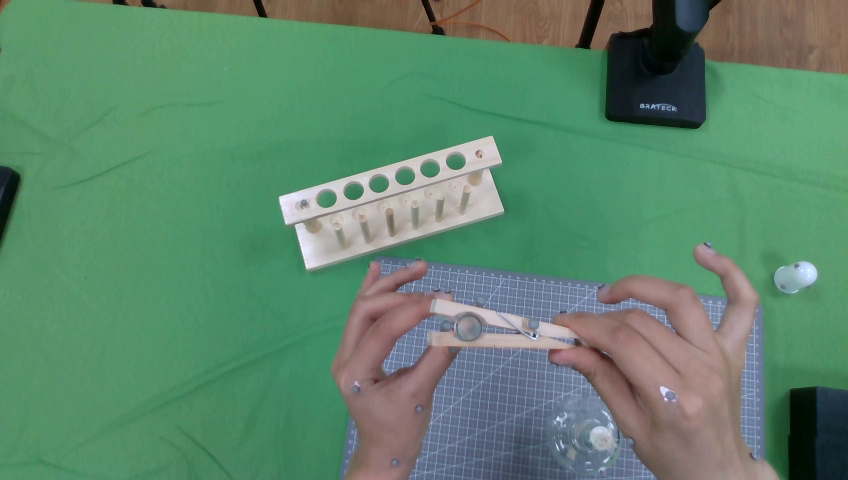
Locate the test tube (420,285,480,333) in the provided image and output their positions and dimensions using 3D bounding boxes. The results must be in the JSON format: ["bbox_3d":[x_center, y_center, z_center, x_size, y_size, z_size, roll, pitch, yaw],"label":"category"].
[{"bbox_3d":[0.014,0.044,0.408,0.017,0.150,0.017,0,91,-8],"label":"test tube"}]

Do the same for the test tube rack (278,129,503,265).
[{"bbox_3d":[-0.031,-0.046,0.686,0.242,0.085,0.066,-17,74,-4],"label":"test tube rack"}]

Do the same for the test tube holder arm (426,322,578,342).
[{"bbox_3d":[0.045,0.053,0.344,0.088,0.015,0.010,2,87,-13],"label":"test tube holder arm"}]

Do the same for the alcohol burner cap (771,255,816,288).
[{"bbox_3d":[0.421,0.034,0.687,0.034,0.048,0.033,0,74,1],"label":"alcohol burner cap"}]

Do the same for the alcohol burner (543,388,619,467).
[{"bbox_3d":[0.161,0.188,0.606,0.078,0.119,0.077,0,76,-1],"label":"alcohol burner"}]

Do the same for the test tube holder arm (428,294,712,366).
[{"bbox_3d":[0.089,0.054,0.354,0.179,0.015,0.013,12,86,-12],"label":"test tube holder arm"}]
